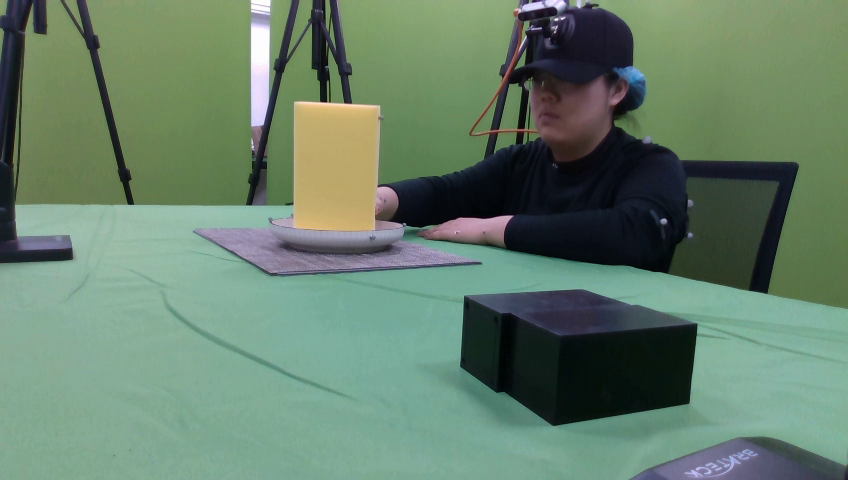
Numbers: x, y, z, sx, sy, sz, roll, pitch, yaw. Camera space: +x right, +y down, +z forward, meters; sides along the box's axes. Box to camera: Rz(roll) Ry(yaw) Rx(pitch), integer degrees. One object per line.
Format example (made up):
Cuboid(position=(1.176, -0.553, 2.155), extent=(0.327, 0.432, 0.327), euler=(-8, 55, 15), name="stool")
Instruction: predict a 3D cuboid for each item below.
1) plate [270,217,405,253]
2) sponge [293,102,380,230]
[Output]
Cuboid(position=(-0.134, -0.009, 0.946), extent=(0.208, 0.039, 0.207), euler=(3, 7, 0), name="plate")
Cuboid(position=(-0.129, -0.097, 0.893), extent=(0.118, 0.206, 0.061), euler=(4, 14, -2), name="sponge")
